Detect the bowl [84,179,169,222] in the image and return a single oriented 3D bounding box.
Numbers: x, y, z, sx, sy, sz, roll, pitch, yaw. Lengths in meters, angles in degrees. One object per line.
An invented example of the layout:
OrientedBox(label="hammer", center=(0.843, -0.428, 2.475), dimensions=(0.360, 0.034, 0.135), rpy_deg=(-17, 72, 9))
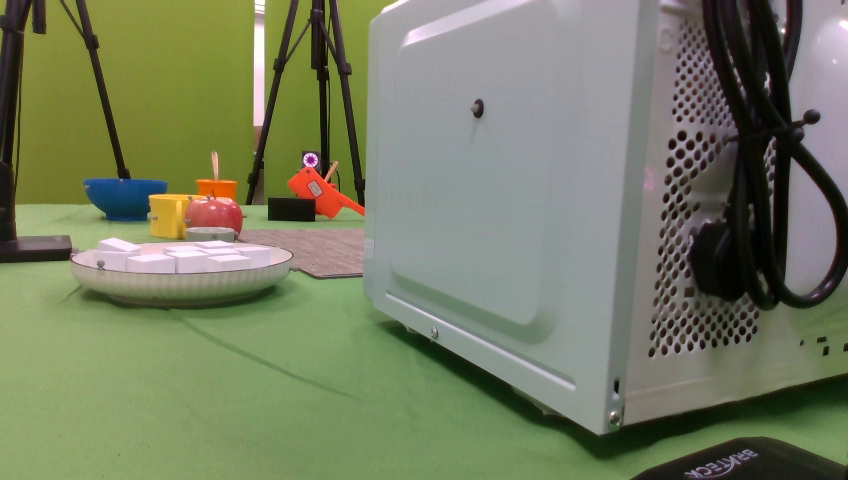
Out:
OrientedBox(label="bowl", center=(-0.584, -0.078, 1.194), dimensions=(0.151, 0.077, 0.151), rpy_deg=(3, 8, 0))

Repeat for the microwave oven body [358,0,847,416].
OrientedBox(label="microwave oven body", center=(0.211, -0.047, 0.475), dimensions=(0.444, 0.260, 0.324), rpy_deg=(-1, 7, -28))

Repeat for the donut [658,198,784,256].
OrientedBox(label="donut", center=(0.252, -0.010, 0.517), dimensions=(0.099, 0.048, 0.099), rpy_deg=(3, 6, 0))

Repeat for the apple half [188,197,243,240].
OrientedBox(label="apple half", center=(-0.305, -0.026, 0.907), dimensions=(0.053, 0.074, 0.081), rpy_deg=(12, 8, 31))

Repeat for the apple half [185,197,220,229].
OrientedBox(label="apple half", center=(-0.338, -0.031, 0.927), dimensions=(0.032, 0.081, 0.081), rpy_deg=(12, 12, 31))

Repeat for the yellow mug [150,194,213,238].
OrientedBox(label="yellow mug", center=(-0.401, -0.040, 1.003), dimensions=(0.100, 0.064, 0.130), rpy_deg=(-1, 8, -20))

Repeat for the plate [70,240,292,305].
OrientedBox(label="plate", center=(-0.242, 0.031, 0.618), dimensions=(0.208, 0.039, 0.207), rpy_deg=(2, 8, 0))

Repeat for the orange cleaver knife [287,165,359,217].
OrientedBox(label="orange cleaver knife", center=(-0.211, -0.093, 1.382), dimensions=(0.212, 0.077, 0.012), rpy_deg=(34, 1, -15))

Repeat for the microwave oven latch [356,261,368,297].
OrientedBox(label="microwave oven latch", center=(-0.020, 0.033, 0.530), dimensions=(0.079, 0.029, 0.030), rpy_deg=(-1, 7, -27))

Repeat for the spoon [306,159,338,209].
OrientedBox(label="spoon", center=(-0.257, -0.147, 1.567), dimensions=(0.041, 0.022, 0.193), rpy_deg=(2, 50, 20))

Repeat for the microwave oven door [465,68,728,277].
OrientedBox(label="microwave oven door", center=(0.207, -0.096, 0.814), dimensions=(0.354, 0.243, 0.039), rpy_deg=(9, 11, 41))

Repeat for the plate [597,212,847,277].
OrientedBox(label="plate", center=(0.255, 0.001, 0.519), dimensions=(0.209, 0.038, 0.209), rpy_deg=(3, 6, 0))

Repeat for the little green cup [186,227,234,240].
OrientedBox(label="little green cup", center=(-0.284, 0.005, 0.805), dimensions=(0.061, 0.038, 0.061), rpy_deg=(3, 8, 0))

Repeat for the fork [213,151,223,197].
OrientedBox(label="fork", center=(-0.494, -0.143, 1.442), dimensions=(0.028, 0.018, 0.206), rpy_deg=(-2, 52, -20))
